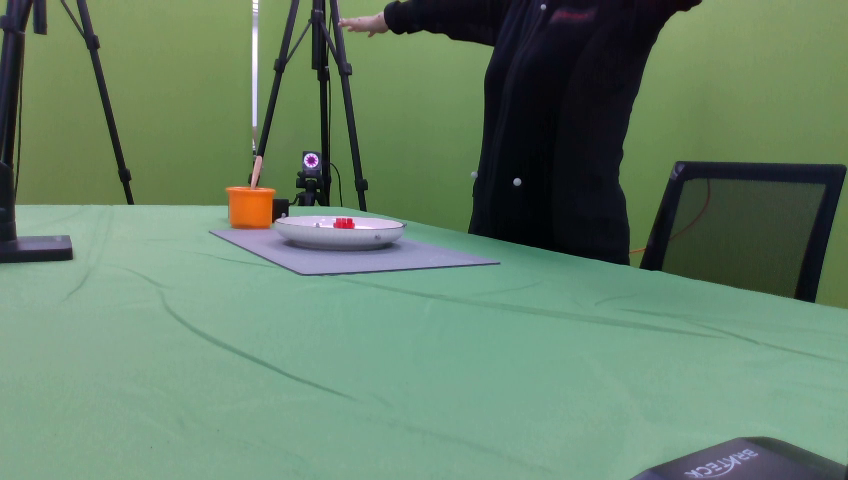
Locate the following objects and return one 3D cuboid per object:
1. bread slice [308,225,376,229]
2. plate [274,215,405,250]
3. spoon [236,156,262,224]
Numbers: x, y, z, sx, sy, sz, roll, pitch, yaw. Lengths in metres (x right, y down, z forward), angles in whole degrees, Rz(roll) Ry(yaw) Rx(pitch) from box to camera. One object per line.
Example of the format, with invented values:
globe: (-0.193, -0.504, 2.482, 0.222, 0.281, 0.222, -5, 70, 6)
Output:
bread slice: (-0.133, -0.011, 0.974, 0.135, 0.018, 0.106, -3, 8, -33)
plate: (-0.136, -0.013, 0.981, 0.209, 0.038, 0.209, 2, 7, 0)
spoon: (-0.338, -0.102, 1.197, 0.042, 0.193, 0.021, 1, -37, -4)
